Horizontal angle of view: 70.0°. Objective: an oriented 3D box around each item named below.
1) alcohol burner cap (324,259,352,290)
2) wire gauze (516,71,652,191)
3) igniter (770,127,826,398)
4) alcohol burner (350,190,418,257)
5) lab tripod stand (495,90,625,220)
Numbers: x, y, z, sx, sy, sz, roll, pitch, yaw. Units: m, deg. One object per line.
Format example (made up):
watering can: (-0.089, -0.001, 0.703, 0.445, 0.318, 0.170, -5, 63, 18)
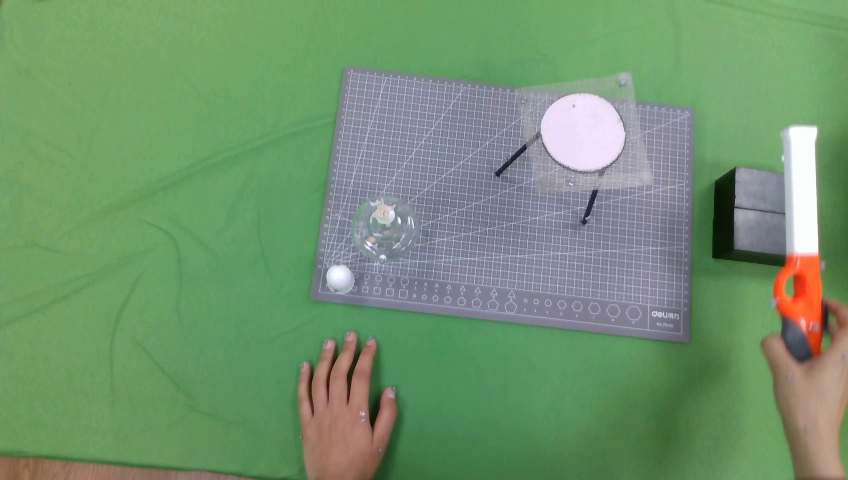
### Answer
alcohol burner cap: (-0.100, 0.037, 0.692, 0.034, 0.048, 0.033, 1, 78, -3)
wire gauze: (0.164, -0.112, 0.621, 0.125, 0.011, 0.121, -6, 78, -4)
igniter: (0.382, 0.023, 0.619, 0.057, 0.025, 0.276, 0, 90, -6)
alcohol burner: (-0.045, -0.022, 0.670, 0.078, 0.119, 0.077, 1, 80, -4)
lab tripod stand: (0.162, -0.104, 0.688, 0.148, 0.132, 0.147, 1, 76, -2)
